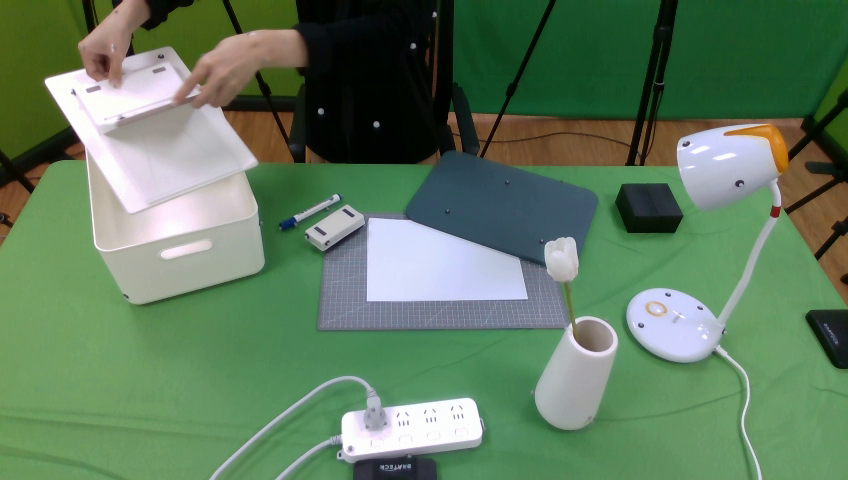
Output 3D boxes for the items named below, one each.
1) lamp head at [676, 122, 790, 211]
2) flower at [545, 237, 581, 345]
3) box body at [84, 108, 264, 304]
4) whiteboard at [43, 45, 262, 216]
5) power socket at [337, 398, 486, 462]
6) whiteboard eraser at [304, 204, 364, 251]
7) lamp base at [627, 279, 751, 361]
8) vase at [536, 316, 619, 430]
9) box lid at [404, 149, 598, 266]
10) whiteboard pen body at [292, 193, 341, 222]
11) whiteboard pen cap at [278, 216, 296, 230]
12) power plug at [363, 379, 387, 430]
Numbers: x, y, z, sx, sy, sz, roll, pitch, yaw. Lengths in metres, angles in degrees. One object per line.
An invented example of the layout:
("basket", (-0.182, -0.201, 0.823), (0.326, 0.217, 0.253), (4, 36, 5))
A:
("lamp head", (0.423, -0.104, 0.819), (0.122, 0.113, 0.112), (-13, 33, 40))
("flower", (0.213, 0.136, 0.846), (0.038, 0.364, 0.044), (19, 54, 39))
("box body", (-0.465, -0.077, 1.137), (0.254, 0.161, 0.361), (-16, 50, -19))
("whiteboard", (-0.424, -0.226, 0.934), (0.217, 0.144, 0.304), (-30, 72, -31))
("power socket", (-0.018, 0.285, 0.914), (0.227, 0.033, 0.071), (-4, 46, -8))
("whiteboard eraser", (-0.175, -0.022, 1.187), (0.055, 0.042, 0.112), (36, 54, 26))
("lamp base", (0.460, 0.100, 1.027), (0.178, 0.181, 0.160), (27, 51, 17))
("vase", (0.229, 0.200, 0.901), (0.098, 0.201, 0.097), (3, 46, -3))
("box lid", (0.171, -0.073, 1.289), (0.371, 0.015, 0.262), (19, 47, 14))
("whiteboard pen body", (-0.231, -0.062, 1.243), (0.141, 0.017, 0.017), (-31, 56, -29))
("whiteboard pen cap", (-0.274, -0.034, 1.213), (0.033, 0.018, 0.018), (-32, 56, -32))
("power plug", (-0.071, 0.252, 0.911), (0.035, 0.053, 0.072), (3, 40, 0))
